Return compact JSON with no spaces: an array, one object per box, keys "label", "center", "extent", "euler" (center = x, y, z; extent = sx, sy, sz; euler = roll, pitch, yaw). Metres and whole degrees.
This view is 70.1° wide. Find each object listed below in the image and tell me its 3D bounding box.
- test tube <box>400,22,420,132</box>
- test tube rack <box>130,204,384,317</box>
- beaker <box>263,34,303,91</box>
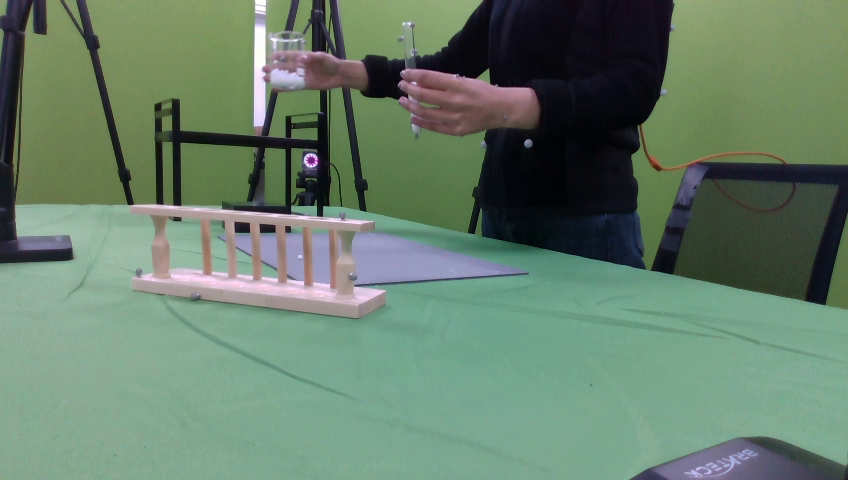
[{"label":"test tube","center":[-0.019,-0.228,0.853],"extent":[0.017,0.150,0.017],"euler":[-5,14,2]},{"label":"test tube rack","center":[-0.163,0.013,0.589],"extent":[0.242,0.085,0.067],"euler":[5,8,17]},{"label":"beaker","center":[-0.280,-0.350,1.199],"extent":[0.074,0.100,0.084],"euler":[-1,7,18]}]
